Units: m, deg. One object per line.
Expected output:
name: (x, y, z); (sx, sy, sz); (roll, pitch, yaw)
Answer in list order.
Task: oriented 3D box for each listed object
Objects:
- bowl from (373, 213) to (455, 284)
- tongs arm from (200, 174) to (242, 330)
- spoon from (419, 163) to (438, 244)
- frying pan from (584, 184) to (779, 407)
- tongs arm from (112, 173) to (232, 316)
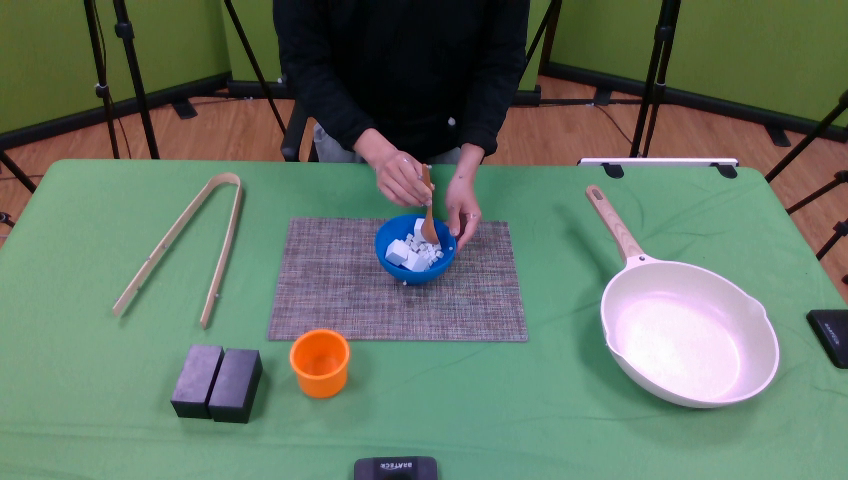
bowl: (-0.020, 0.028, 1.124); (0.151, 0.077, 0.150); (3, 46, -3)
tongs arm: (-0.387, 0.008, 1.158); (0.028, 0.028, 0.385); (-1, 46, -3)
spoon: (0.005, -0.060, 1.051); (0.041, 0.195, 0.021); (29, 53, 28)
frying pan: (0.412, 0.079, 1.097); (0.307, 0.103, 0.484); (-10, 56, -15)
tongs arm: (-0.467, -0.005, 1.157); (0.051, 0.026, 0.382); (11, 45, 4)
